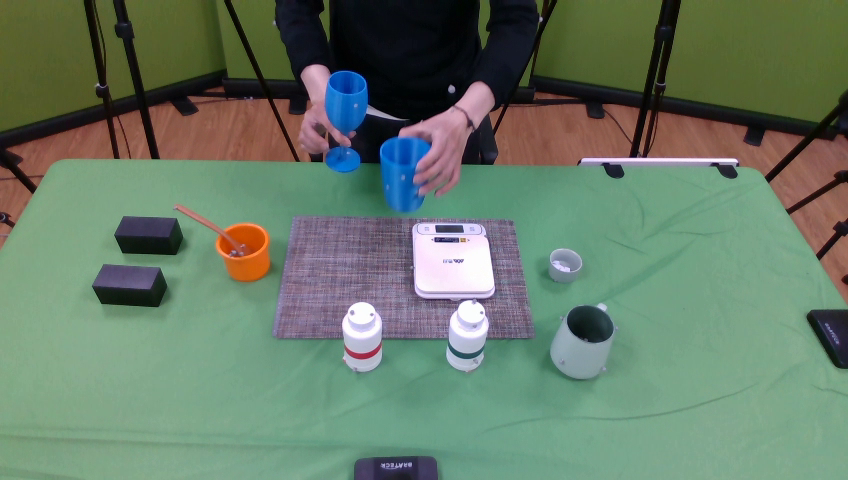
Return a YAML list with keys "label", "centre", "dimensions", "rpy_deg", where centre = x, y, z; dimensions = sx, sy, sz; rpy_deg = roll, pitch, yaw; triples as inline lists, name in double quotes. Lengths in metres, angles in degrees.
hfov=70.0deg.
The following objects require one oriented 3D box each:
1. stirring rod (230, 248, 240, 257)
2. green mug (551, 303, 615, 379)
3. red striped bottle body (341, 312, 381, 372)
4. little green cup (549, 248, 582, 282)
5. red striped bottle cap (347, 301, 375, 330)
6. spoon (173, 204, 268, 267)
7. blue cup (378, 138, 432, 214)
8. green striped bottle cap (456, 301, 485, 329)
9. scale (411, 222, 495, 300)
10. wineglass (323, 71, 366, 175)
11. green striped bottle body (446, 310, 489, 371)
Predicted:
- label: "stirring rod"
  centre: [-0.330, 0.023, 1.059]
  dimensions: [0.014, 0.176, 0.006]
  rpy_deg: [33, 79, -12]
- label: "green mug"
  centre: [0.271, 0.157, 1.007]
  dimensions: [0.092, 0.105, 0.125]
  rpy_deg: [27, 50, 21]
- label: "red striped bottle body"
  centre: [-0.100, 0.154, 0.972]
  dimensions: [0.063, 0.120, 0.062]
  rpy_deg: [2, 45, -2]
- label: "little green cup"
  centre: [0.268, 0.050, 1.156]
  dimensions: [0.061, 0.039, 0.061]
  rpy_deg: [1, 45, -1]
- label: "red striped bottle cap"
  centre: [-0.097, 0.116, 0.934]
  dimensions: [0.044, 0.018, 0.044]
  rpy_deg: [2, 49, -3]
- label: "spoon"
  centre: [-0.362, -0.009, 1.089]
  dimensions: [0.021, 0.195, 0.041]
  rpy_deg: [-35, 31, 22]
- label: "blue cup"
  centre: [-0.032, -0.098, 0.977]
  dimensions: [0.093, 0.101, 0.092]
  rpy_deg: [2, 42, -1]
- label: "green striped bottle cap"
  centre: [0.073, 0.116, 0.943]
  dimensions: [0.044, 0.020, 0.044]
  rpy_deg: [3, 46, -3]
- label: "scale"
  centre: [0.052, 0.031, 1.158]
  dimensions: [0.149, 0.032, 0.199]
  rpy_deg: [1, 46, -4]
- label: "wineglass"
  centre: [-0.139, -0.200, 1.040]
  dimensions: [0.074, 0.173, 0.073]
  rpy_deg: [6, 51, -7]
- label: "green striped bottle body"
  centre: [0.070, 0.155, 0.984]
  dimensions: [0.063, 0.120, 0.063]
  rpy_deg: [2, 46, -2]
